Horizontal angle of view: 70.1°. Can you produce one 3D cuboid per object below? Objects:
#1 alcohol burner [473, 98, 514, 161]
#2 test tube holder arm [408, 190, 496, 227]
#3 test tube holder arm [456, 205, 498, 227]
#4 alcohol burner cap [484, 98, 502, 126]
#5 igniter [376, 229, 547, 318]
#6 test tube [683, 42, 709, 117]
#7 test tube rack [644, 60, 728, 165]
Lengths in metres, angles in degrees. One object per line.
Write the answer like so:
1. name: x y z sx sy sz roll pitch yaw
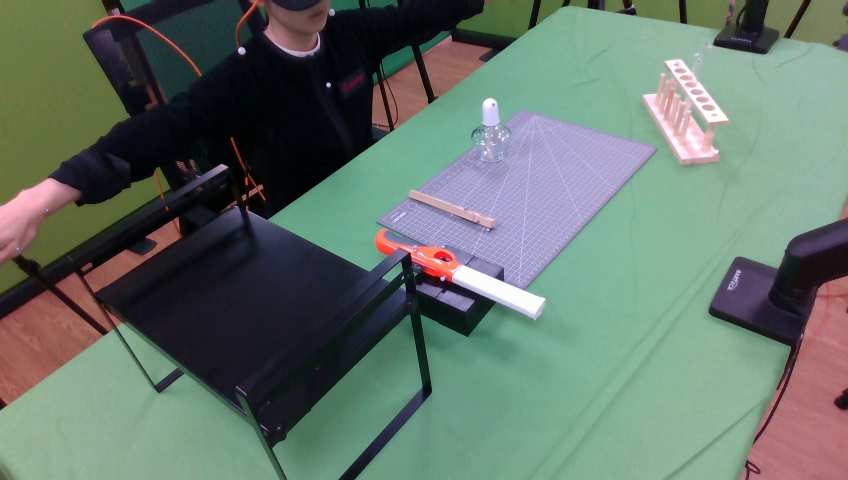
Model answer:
1. alcohol burner: 0.127 -0.208 1.123 0.078 0.119 0.077 -5 39 5
2. test tube holder arm: 0.045 -0.055 1.029 0.177 0.015 0.013 22 12 30
3. test tube holder arm: 0.083 -0.041 1.011 0.087 0.015 0.010 22 12 32
4. alcohol burner cap: 0.124 -0.236 1.101 0.034 0.048 0.033 -6 39 5
5. igniter: 0.040 0.041 0.845 0.274 0.025 0.057 22 46 27
6. test tube: 0.499 -0.292 1.115 0.017 0.151 0.017 -3 44 3
7. test tube rack: 0.486 -0.247 1.139 0.067 0.085 0.241 -5 41 4
